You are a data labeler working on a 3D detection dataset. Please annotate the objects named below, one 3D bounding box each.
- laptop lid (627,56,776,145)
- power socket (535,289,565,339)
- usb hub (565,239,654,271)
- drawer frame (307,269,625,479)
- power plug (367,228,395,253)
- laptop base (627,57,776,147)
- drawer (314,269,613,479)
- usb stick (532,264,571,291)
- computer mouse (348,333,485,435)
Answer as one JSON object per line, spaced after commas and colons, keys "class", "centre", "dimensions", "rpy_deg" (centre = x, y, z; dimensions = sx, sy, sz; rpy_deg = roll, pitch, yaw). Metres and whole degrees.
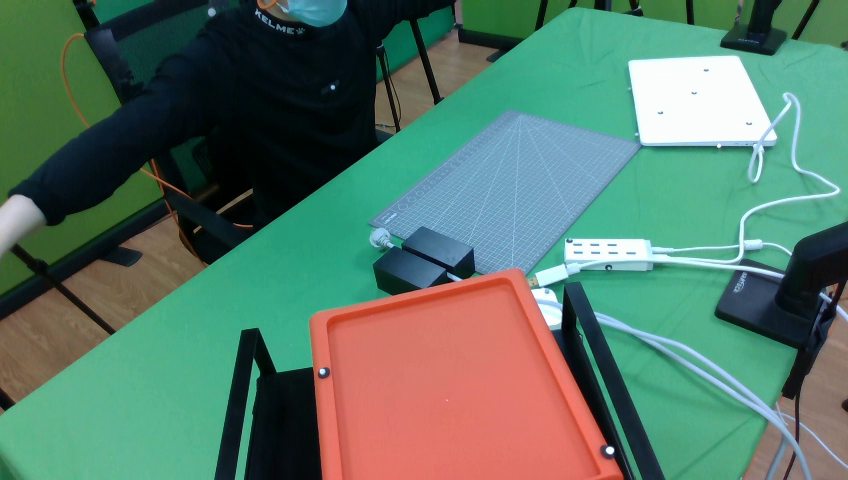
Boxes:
{"class": "laptop lid", "centre": [0.543, -0.291, 1.221], "dimensions": [0.241, 0.013, 0.356], "rpy_deg": [1, 41, 14]}
{"class": "power socket", "centre": [0.081, 0.112, 0.822], "dimensions": [0.227, 0.033, 0.072], "rpy_deg": [-7, 41, 0]}
{"class": "usb hub", "centre": [0.275, 0.022, 0.906], "dimensions": [0.125, 0.025, 0.049], "rpy_deg": [1, 41, 9]}
{"class": "drawer frame", "centre": [0.019, 0.135, 0.487], "dimensions": [0.202, 0.083, 0.212], "rpy_deg": [-12, 41, -7]}
{"class": "power plug", "centre": [-0.066, 0.010, 0.956], "dimensions": [0.035, 0.053, 0.072], "rpy_deg": [-32, 56, 3]}
{"class": "laptop base", "centre": [0.546, -0.282, 1.229], "dimensions": [0.235, 0.023, 0.353], "rpy_deg": [-1, 41, 13]}
{"class": "drawer", "centre": [0.018, 0.134, 0.490], "dimensions": [0.195, 0.073, 0.210], "rpy_deg": [-11, 41, -6]}
{"class": "usb stick", "centre": [0.181, 0.058, 0.876], "dimensions": [0.059, 0.027, 0.021], "rpy_deg": [-31, 89, -7]}
{"class": "computer mouse", "centre": [-0.006, 0.122, 0.528], "dimensions": [0.117, 0.041, 0.063], "rpy_deg": [20, 40, 14]}
